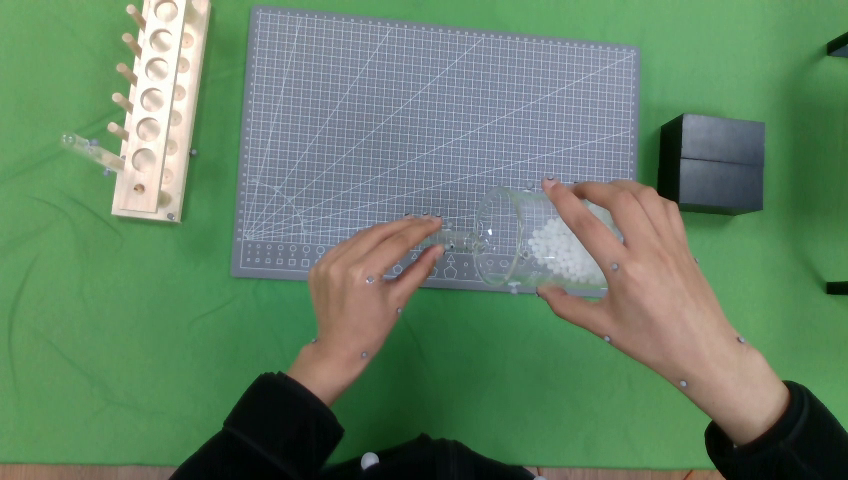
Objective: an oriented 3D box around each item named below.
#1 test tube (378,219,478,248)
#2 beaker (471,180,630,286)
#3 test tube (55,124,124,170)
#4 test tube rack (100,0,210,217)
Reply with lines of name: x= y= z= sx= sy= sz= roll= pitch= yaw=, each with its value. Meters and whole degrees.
test tube: x=-0.002 y=-0.008 z=0.539 sx=0.017 sy=0.149 sz=0.017 roll=-4 pitch=97 yaw=-32
beaker: x=0.094 y=-0.002 z=0.458 sx=0.101 sy=0.084 sz=0.074 roll=4 pitch=82 yaw=-21
test tube: x=-0.297 y=-0.082 z=0.555 sx=0.017 sy=0.150 sz=0.017 roll=0 pitch=87 yaw=-7
test tube rack: x=-0.274 y=-0.151 z=0.608 sx=0.067 sy=0.085 sz=0.242 roll=7 pitch=85 yaw=-7
